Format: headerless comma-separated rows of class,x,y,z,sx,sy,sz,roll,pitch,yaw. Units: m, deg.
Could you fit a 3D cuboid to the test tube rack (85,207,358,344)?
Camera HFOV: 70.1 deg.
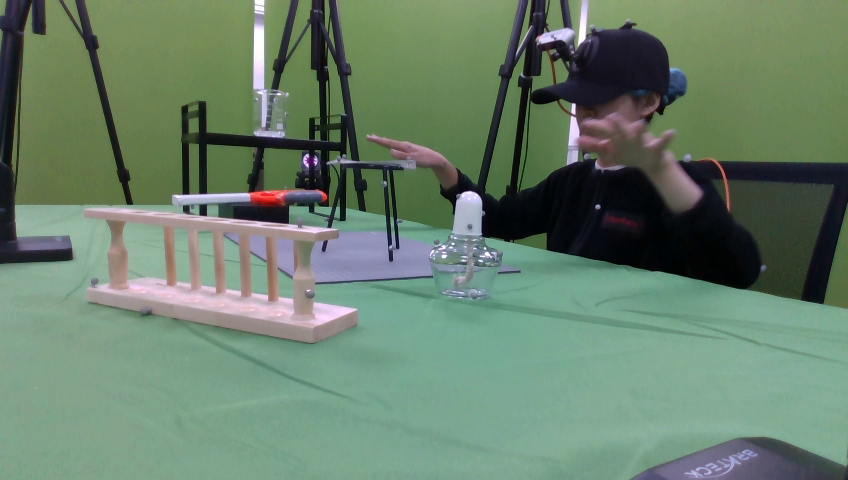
test tube rack,-0.177,0.022,0.518,0.241,0.085,0.067,6,7,23

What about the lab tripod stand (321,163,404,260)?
lab tripod stand,-0.076,-0.045,0.884,0.148,0.131,0.148,2,5,0

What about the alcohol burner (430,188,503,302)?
alcohol burner,0.046,0.005,0.634,0.078,0.119,0.078,5,7,0

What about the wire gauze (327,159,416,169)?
wire gauze,-0.072,-0.111,0.872,0.121,0.011,0.125,3,5,-2

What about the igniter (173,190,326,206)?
igniter,-0.317,-0.079,1.128,0.278,0.025,0.057,-4,13,-32

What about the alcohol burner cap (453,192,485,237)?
alcohol burner cap,0.048,-0.026,0.629,0.034,0.048,0.034,3,6,0

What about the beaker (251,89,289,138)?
beaker,-0.334,-0.273,1.316,0.084,0.100,0.074,6,8,15
